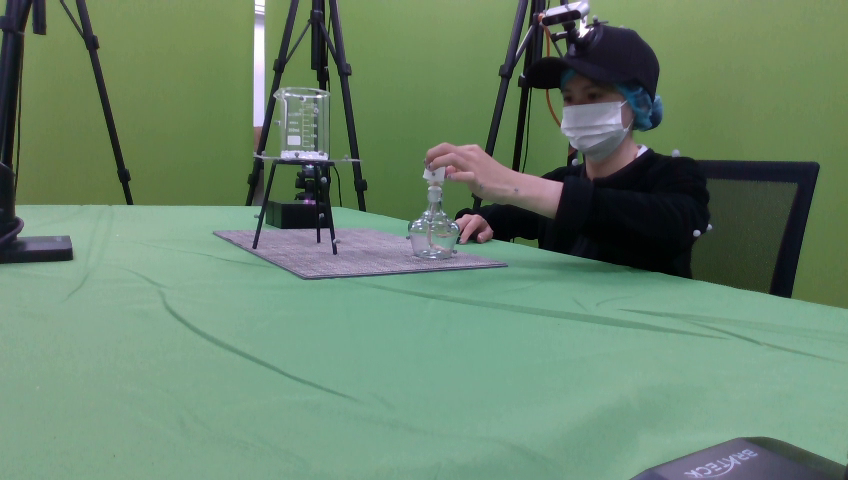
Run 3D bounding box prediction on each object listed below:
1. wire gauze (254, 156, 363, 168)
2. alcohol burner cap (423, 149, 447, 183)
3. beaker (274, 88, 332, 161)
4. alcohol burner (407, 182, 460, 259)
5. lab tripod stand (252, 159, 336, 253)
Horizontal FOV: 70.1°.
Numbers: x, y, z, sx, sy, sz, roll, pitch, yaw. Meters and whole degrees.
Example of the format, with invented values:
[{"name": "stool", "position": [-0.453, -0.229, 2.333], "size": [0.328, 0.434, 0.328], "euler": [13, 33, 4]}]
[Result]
[{"name": "wire gauze", "position": [-0.172, -0.117, 0.891], "size": [0.122, 0.011, 0.124], "euler": [0, 3, -38]}, {"name": "alcohol burner cap", "position": [0.017, -0.105, 0.862], "size": [0.034, 0.048, 0.034], "euler": [8, 13, -2]}, {"name": "beaker", "position": [-0.177, -0.165, 0.879], "size": [0.084, 0.100, 0.074], "euler": [2, 5, 1]}, {"name": "alcohol burner", "position": [0.015, -0.032, 0.882], "size": [0.078, 0.119, 0.078], "euler": [2, 5, 0]}, {"name": "lab tripod stand", "position": [-0.180, -0.053, 0.900], "size": [0.148, 0.131, 0.148], "euler": [1, 6, 0]}]
